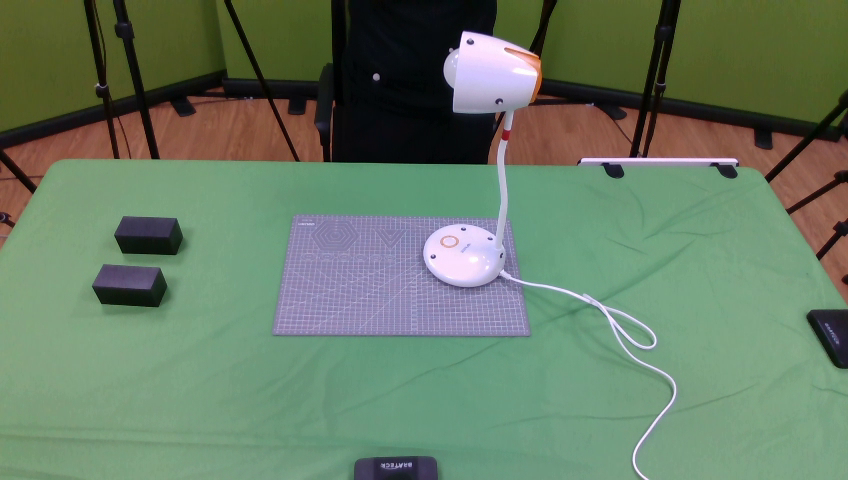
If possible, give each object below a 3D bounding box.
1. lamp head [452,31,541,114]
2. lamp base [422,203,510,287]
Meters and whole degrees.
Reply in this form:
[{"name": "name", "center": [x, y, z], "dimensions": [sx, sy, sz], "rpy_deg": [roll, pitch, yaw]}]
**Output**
[{"name": "lamp head", "center": [0.102, -0.228, 0.858], "dimensions": [0.123, 0.113, 0.112], "rpy_deg": [11, 46, 0]}, {"name": "lamp base", "center": [0.092, -0.021, 1.111], "dimensions": [0.179, 0.181, 0.160], "rpy_deg": [23, 49, 14]}]
